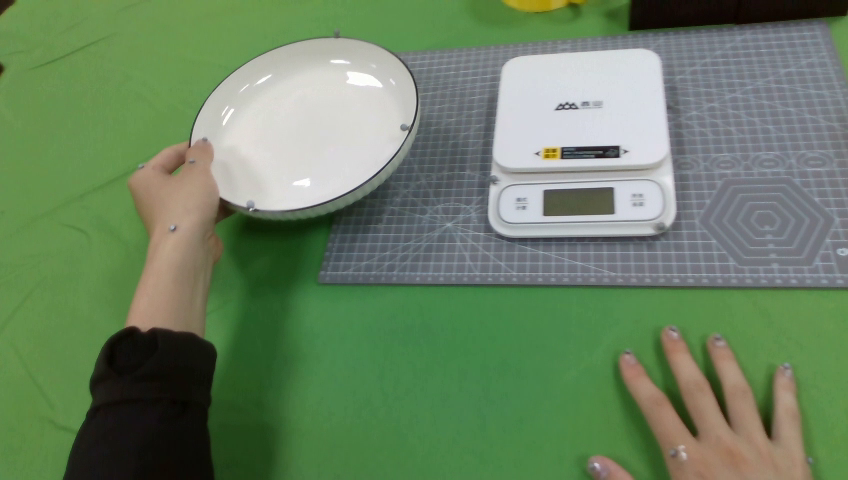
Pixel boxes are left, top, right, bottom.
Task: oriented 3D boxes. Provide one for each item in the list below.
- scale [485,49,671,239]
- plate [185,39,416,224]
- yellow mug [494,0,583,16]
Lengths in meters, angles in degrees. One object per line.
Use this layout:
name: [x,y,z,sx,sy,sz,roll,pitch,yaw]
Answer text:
scale: [0.132,-0.089,0.535,0.148,0.032,0.199,-1,56,13]
plate: [-0.108,-0.097,0.545,0.209,0.038,0.207,-5,58,8]
yellow mug: [0.131,-0.300,0.667,0.100,0.064,0.129,-36,56,-12]
